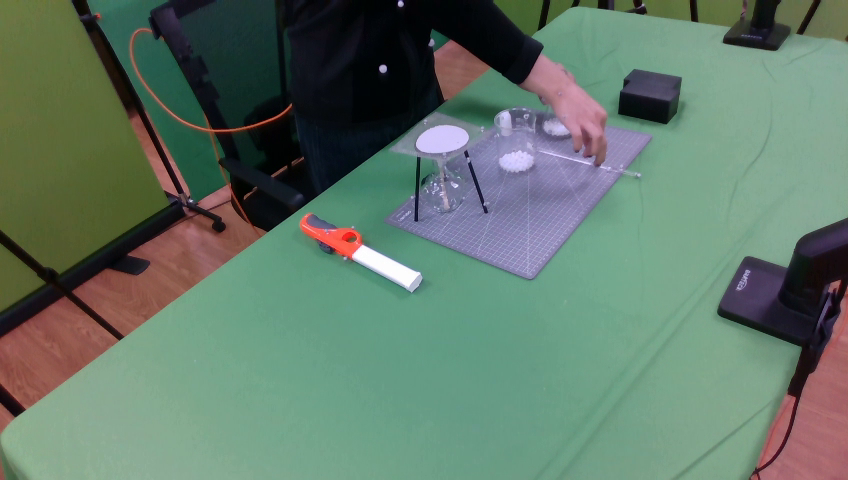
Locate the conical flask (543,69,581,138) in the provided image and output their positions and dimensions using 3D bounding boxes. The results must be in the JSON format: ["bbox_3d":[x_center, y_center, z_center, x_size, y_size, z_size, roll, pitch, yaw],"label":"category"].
[{"bbox_3d":[0.262,-0.264,1.160,0.075,0.122,0.075,-9,43,9],"label":"conical flask"}]

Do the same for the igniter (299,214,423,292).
[{"bbox_3d":[-0.112,0.016,0.983,0.274,0.025,0.057,26,62,35],"label":"igniter"}]

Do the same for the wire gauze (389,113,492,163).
[{"bbox_3d":[0.026,-0.164,0.977,0.120,0.011,0.125,24,49,35],"label":"wire gauze"}]

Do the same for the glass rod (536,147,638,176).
[{"bbox_3d":[0.294,-0.145,1.104,0.198,0.008,0.008,21,49,31],"label":"glass rod"}]

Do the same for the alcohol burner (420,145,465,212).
[{"bbox_3d":[0.030,-0.108,1.030,0.078,0.119,0.077,-5,38,4],"label":"alcohol burner"}]

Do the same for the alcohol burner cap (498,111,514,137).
[{"bbox_3d":[0.163,-0.234,1.211,0.034,0.048,0.033,-6,38,5],"label":"alcohol burner cap"}]

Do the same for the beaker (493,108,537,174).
[{"bbox_3d":[0.170,-0.177,1.097,0.074,0.101,0.083,-34,46,-26],"label":"beaker"}]

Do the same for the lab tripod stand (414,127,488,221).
[{"bbox_3d":[0.035,-0.114,1.021,0.148,0.132,0.147,-7,39,6],"label":"lab tripod stand"}]
